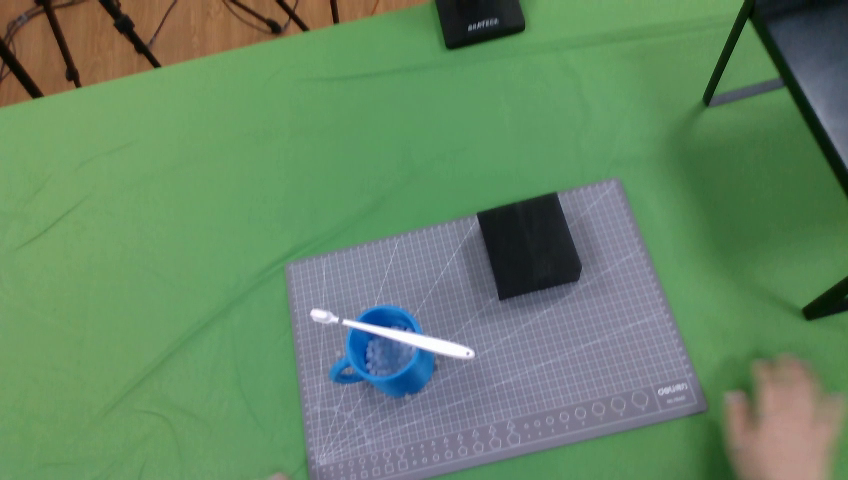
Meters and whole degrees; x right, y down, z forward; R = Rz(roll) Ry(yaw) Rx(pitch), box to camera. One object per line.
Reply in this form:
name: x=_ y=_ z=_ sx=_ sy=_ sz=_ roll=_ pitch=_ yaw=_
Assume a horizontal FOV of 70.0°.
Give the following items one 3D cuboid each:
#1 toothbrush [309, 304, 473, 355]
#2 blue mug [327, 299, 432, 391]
toothbrush: x=-0.037 y=0.092 z=0.630 sx=0.181 sy=0.017 sz=0.014 roll=13 pitch=66 yaw=13
blue mug: x=-0.052 y=0.127 z=0.682 sx=0.116 sy=0.107 sz=0.081 roll=-23 pitch=66 yaw=-1
